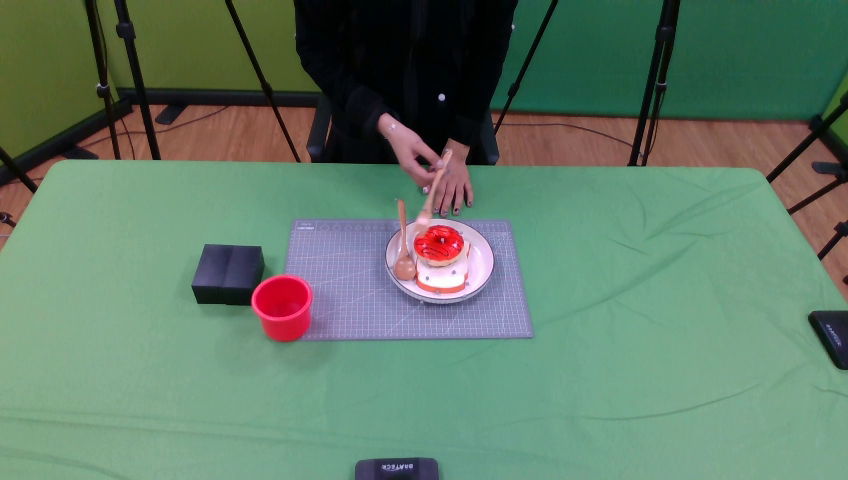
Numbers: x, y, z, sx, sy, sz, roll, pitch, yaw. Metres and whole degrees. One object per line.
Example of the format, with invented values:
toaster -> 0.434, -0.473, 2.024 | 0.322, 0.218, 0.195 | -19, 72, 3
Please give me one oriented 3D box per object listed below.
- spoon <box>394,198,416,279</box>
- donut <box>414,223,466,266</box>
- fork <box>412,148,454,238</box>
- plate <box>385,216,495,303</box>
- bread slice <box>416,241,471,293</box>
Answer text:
spoon -> -0.039, -0.006, 1.166 | 0.042, 0.022, 0.192 | 2, 59, -8
donut -> 0.030, 0.008, 1.140 | 0.099, 0.048, 0.098 | 0, 42, 0
fork -> 0.020, -0.090, 1.119 | 0.028, 0.019, 0.206 | 10, 65, 22
plate -> 0.030, 0.040, 1.145 | 0.209, 0.038, 0.208 | 2, 46, -2
bread slice -> 0.037, 0.046, 1.144 | 0.105, 0.019, 0.131 | 4, 45, 2
